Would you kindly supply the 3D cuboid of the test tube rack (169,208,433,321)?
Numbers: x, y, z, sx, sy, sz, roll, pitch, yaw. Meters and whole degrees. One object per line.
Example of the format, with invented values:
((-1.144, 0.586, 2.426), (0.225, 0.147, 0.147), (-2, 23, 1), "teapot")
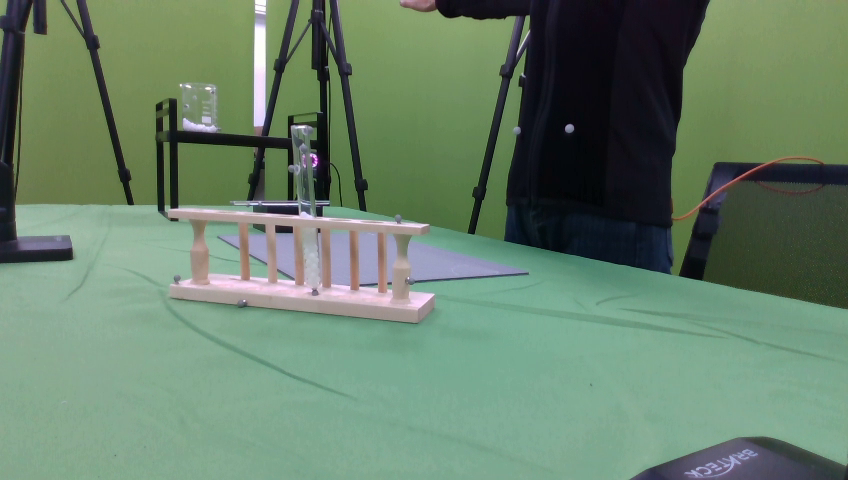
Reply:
((-0.115, 0.018, 0.574), (0.242, 0.085, 0.067), (4, 8, 13), "test tube rack")

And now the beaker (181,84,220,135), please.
((-0.475, -0.275, 1.281), (0.073, 0.100, 0.084), (6, 9, 35), "beaker")

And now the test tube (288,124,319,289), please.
((-0.108, -0.029, 0.546), (0.017, 0.150, 0.017), (-3, 11, 1), "test tube")

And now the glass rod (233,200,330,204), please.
((-0.266, -0.071, 1.146), (0.201, 0.008, 0.008), (-4, 9, -40), "glass rod")
